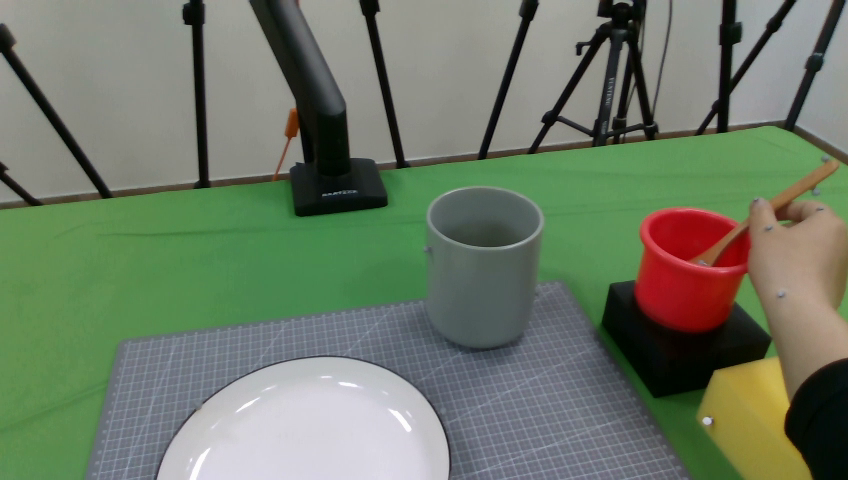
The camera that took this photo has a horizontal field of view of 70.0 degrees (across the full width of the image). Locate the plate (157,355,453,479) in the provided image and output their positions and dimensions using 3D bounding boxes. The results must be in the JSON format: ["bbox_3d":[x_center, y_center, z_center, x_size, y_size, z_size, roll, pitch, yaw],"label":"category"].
[{"bbox_3d":[-0.083,0.171,0.443,0.208,0.039,0.205,0,35,0],"label":"plate"}]

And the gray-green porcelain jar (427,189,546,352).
[{"bbox_3d":[0.055,0.032,0.567,0.106,0.127,0.105,0,35,0],"label":"gray-green porcelain jar"}]

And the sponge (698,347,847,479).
[{"bbox_3d":[0.314,0.176,0.427,0.118,0.061,0.204,-10,36,-14],"label":"sponge"}]

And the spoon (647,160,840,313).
[{"bbox_3d":[0.273,-0.002,0.519,0.022,0.194,0.041,38,15,-26],"label":"spoon"}]
